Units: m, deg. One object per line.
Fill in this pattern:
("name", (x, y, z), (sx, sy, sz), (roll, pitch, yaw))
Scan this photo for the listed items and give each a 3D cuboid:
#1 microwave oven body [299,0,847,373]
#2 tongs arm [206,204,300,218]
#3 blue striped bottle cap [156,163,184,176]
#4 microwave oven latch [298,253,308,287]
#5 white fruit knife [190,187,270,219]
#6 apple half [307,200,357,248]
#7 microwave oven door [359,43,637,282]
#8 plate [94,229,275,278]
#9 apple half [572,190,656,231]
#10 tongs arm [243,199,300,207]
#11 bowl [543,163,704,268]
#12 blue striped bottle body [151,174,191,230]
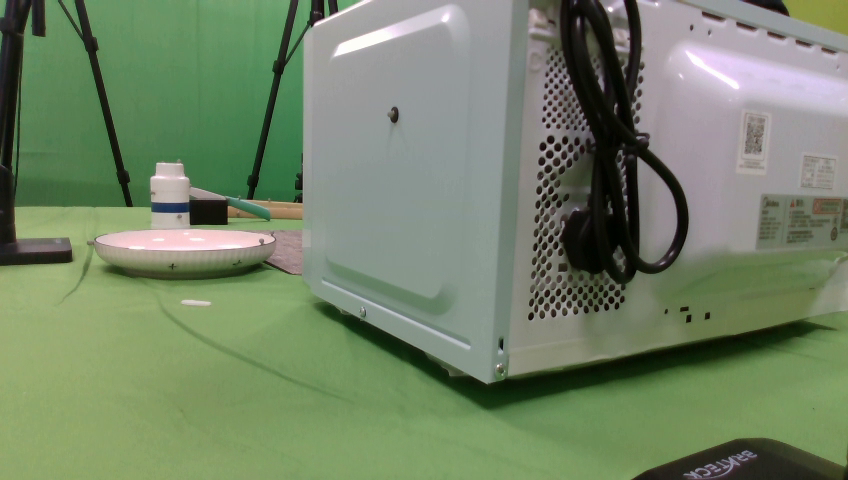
("microwave oven body", (0.152, -0.055, 0.542), (0.444, 0.260, 0.324), (-2, 7, -33))
("tongs arm", (-0.302, -0.065, 1.407), (0.389, 0.028, 0.028), (1, 4, -15))
("blue striped bottle cap", (-0.438, -0.122, 1.045), (0.044, 0.020, 0.044), (5, 6, 0))
("microwave oven latch", (-0.081, 0.028, 0.580), (0.079, 0.029, 0.030), (-1, 7, -28))
("white fruit knife", (-0.413, -0.081, 1.270), (0.208, 0.027, 0.016), (17, 13, -41))
("apple half", (-0.136, -0.024, 0.942), (0.053, 0.074, 0.081), (15, 10, 38))
("microwave oven door", (0.101, -0.082, 0.701), (0.358, 0.243, 0.039), (-1, 8, -27))
("plate", (-0.291, 0.016, 0.749), (0.208, 0.039, 0.207), (2, 7, 0))
("apple half", (0.182, -0.031, 0.582), (0.081, 0.033, 0.081), (14, -3, 1))
("tongs arm", (-0.309, -0.078, 1.487), (0.385, 0.026, 0.050), (3, 7, -2))
("bowl", (0.181, -0.021, 0.584), (0.151, 0.077, 0.151), (12, 7, -1))
("blue striped bottle body", (-0.439, -0.071, 1.052), (0.063, 0.120, 0.063), (2, 8, 0))
